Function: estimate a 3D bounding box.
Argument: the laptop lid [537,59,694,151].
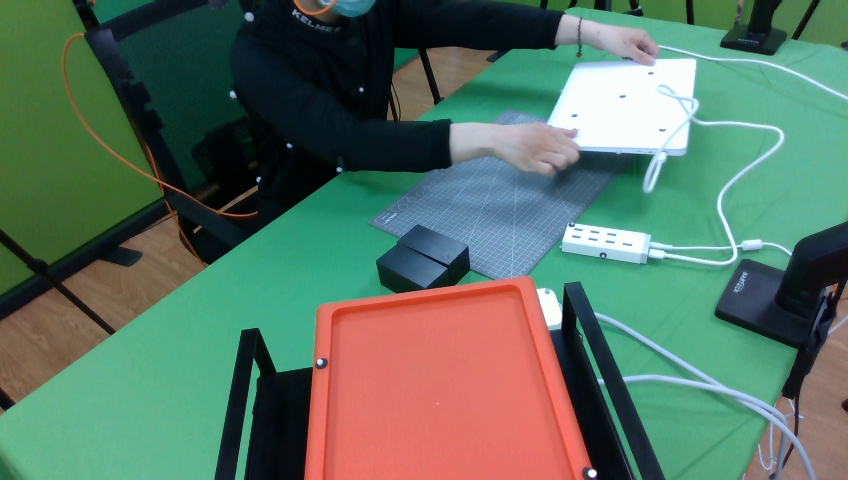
[{"bbox_3d":[0.357,-0.256,1.100,0.240,0.013,0.357,6,40,24],"label":"laptop lid"}]

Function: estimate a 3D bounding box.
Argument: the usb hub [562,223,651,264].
[{"bbox_3d":[0.279,0.004,0.926,0.124,0.025,0.049,10,43,19],"label":"usb hub"}]

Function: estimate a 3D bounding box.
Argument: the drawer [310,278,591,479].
[{"bbox_3d":[0.013,0.137,0.489,0.195,0.073,0.210,-7,41,0],"label":"drawer"}]

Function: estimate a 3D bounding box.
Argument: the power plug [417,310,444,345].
[{"bbox_3d":[0.007,0.122,0.785,0.035,0.053,0.072,1,39,7],"label":"power plug"}]

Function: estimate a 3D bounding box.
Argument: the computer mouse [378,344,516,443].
[{"bbox_3d":[0.018,0.125,0.521,0.116,0.041,0.063,13,47,30],"label":"computer mouse"}]

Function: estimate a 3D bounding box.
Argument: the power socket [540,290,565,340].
[{"bbox_3d":[0.081,0.112,0.822,0.227,0.033,0.072,-7,41,0],"label":"power socket"}]

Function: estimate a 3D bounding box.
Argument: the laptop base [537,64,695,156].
[{"bbox_3d":[0.361,-0.246,1.106,0.234,0.023,0.354,4,39,24],"label":"laptop base"}]

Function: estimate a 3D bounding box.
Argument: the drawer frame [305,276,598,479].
[{"bbox_3d":[0.014,0.137,0.486,0.202,0.083,0.212,-8,41,-1],"label":"drawer frame"}]

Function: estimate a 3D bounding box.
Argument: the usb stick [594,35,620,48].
[{"bbox_3d":[0.444,-0.482,1.466,0.059,0.021,0.027,9,42,10],"label":"usb stick"}]
